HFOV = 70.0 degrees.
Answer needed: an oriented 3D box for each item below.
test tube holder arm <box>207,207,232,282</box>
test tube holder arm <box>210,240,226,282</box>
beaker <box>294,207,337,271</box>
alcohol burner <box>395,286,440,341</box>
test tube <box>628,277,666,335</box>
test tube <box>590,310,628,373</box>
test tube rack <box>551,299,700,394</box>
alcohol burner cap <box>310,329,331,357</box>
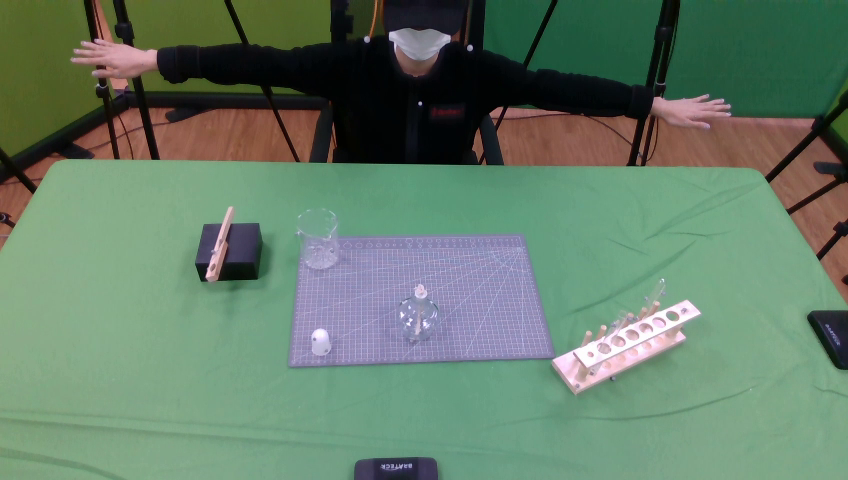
[{"bbox_3d":[-0.370,0.004,1.100,0.013,0.015,0.177,-5,47,0],"label":"test tube holder arm"},{"bbox_3d":[-0.362,0.036,1.069,0.010,0.015,0.087,-4,47,0],"label":"test tube holder arm"},{"bbox_3d":[-0.196,0.003,1.123,0.074,0.101,0.083,-23,53,-24],"label":"beaker"},{"bbox_3d":[-0.010,0.116,1.018,0.078,0.119,0.077,3,47,-3],"label":"alcohol burner"},{"bbox_3d":[0.371,0.112,1.014,0.017,0.151,0.017,3,47,-3],"label":"test tube"},{"bbox_3d":[0.288,0.162,0.951,0.017,0.151,0.017,4,44,-4],"label":"test tube"},{"bbox_3d":[0.339,0.166,1.021,0.242,0.085,0.066,-19,50,-21],"label":"test tube rack"},{"bbox_3d":[-0.173,0.168,1.004,0.034,0.048,0.033,2,46,-2],"label":"alcohol burner cap"}]
